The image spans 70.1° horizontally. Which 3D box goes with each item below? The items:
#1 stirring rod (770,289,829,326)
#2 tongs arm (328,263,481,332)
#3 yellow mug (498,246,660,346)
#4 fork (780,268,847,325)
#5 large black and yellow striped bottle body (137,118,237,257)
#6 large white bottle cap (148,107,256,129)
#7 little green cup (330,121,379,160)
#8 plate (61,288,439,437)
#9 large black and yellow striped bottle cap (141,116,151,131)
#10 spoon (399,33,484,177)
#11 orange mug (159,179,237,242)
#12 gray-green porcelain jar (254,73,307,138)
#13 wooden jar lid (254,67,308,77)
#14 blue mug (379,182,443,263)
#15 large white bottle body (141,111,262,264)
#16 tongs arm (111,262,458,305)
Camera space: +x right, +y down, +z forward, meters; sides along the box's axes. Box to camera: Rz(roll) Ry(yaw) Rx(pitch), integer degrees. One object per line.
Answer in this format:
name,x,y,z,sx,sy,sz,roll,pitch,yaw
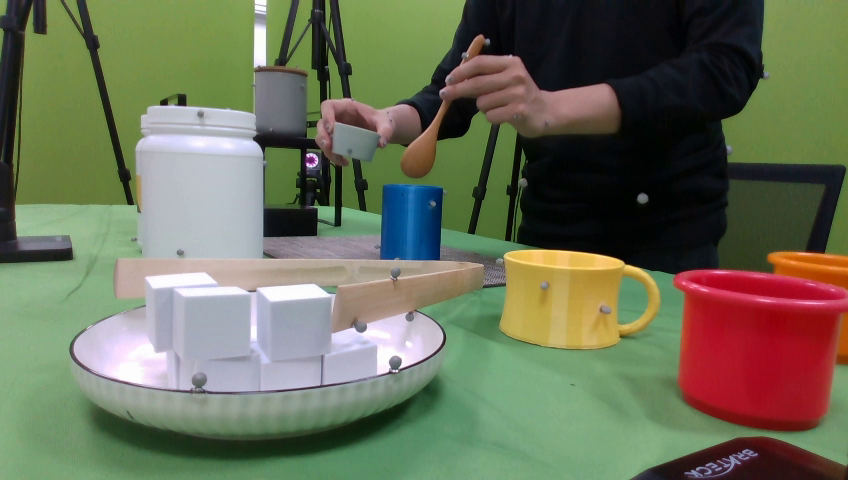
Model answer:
stirring rod,0.349,0.022,0.468,0.014,0.006,0.175,-12,-26,-50
tongs arm,-0.003,0.036,0.493,0.050,0.026,0.386,1,-1,19
yellow mug,0.130,0.045,0.508,0.131,0.064,0.100,4,7,6
fork,0.324,0.018,0.441,0.028,0.018,0.207,-3,-36,-5
large black and yellow striped bottle body,-0.330,-0.075,0.849,0.131,0.184,0.130,2,8,0
large white bottle cap,-0.250,-0.137,0.686,0.115,0.018,0.115,3,8,0
little green cup,-0.092,-0.128,0.782,0.061,0.038,0.061,15,9,-2
plate,-0.095,0.069,0.362,0.208,0.039,0.207,3,7,0
large black and yellow striped bottle cap,-0.328,-0.158,0.837,0.115,0.019,0.115,2,6,0
spoon,0.022,-0.164,0.746,0.042,0.193,0.021,26,13,-5
orange mug,-0.368,-0.051,0.991,0.127,0.101,0.083,-10,14,-41
gray-green porcelain jar,-0.298,-0.277,1.259,0.106,0.126,0.106,3,8,0
wooden jar lid,-0.296,-0.339,1.251,0.108,0.020,0.108,1,7,0
blue mug,-0.019,-0.026,0.832,0.082,0.106,0.116,1,7,-5
large white bottle body,-0.254,-0.053,0.697,0.131,0.184,0.130,2,7,0
tongs arm,-0.080,0.033,0.527,0.028,0.027,0.389,-3,-4,33
